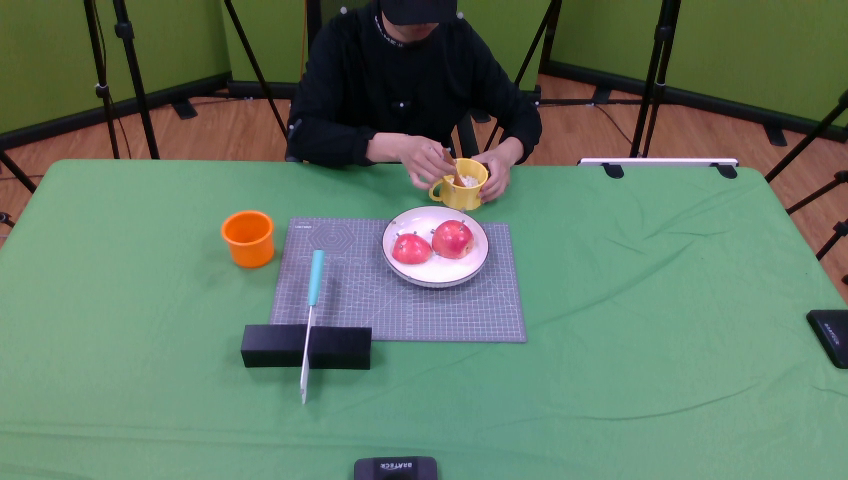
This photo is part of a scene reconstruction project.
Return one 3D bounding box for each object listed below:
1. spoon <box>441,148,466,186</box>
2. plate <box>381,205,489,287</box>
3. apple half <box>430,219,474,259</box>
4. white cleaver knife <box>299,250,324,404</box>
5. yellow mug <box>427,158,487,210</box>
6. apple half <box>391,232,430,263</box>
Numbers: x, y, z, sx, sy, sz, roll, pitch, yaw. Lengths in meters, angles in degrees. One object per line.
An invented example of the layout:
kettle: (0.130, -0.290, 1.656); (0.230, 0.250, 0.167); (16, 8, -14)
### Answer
spoon: (0.060, -0.139, 1.226); (0.041, 0.195, 0.021); (15, 71, 22)
plate: (0.021, 0.015, 1.170); (0.209, 0.038, 0.208); (2, 46, -2)
apple half: (0.056, -0.008, 1.172); (0.081, 0.053, 0.074); (-33, 59, -31)
white cleaver knife: (-0.194, 0.134, 1.019); (0.021, 0.066, 0.284); (5, 50, -5)
yellow mug: (0.067, -0.115, 1.284); (0.131, 0.064, 0.099); (-17, 48, -17)
apple half: (-0.024, 0.009, 1.163); (0.081, 0.033, 0.081); (2, 43, -2)
